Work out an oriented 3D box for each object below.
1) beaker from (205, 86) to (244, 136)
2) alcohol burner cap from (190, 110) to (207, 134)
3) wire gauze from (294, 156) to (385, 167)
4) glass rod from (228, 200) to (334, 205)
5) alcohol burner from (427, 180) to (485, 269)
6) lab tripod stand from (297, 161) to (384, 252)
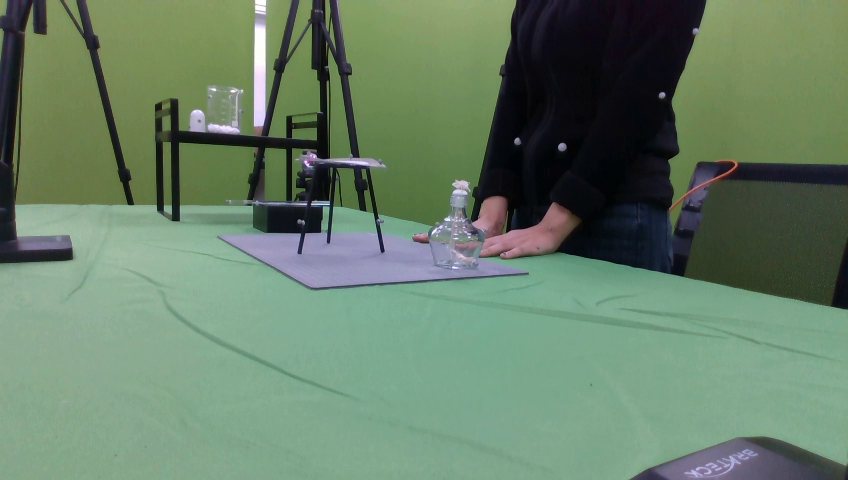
[{"bbox_3d":[-0.430,-0.278,1.310,0.084,0.100,0.074,5,8,13],"label":"beaker"},{"bbox_3d":[-0.464,-0.242,1.241,0.034,0.048,0.034,1,7,0],"label":"alcohol burner cap"},{"bbox_3d":[-0.128,-0.118,0.901,0.125,0.011,0.121,0,8,-14],"label":"wire gauze"},{"bbox_3d":[-0.268,-0.071,1.148,0.201,0.008,0.008,-1,8,-28],"label":"glass rod"},{"bbox_3d":[0.044,-0.021,0.808,0.078,0.119,0.078,4,6,0],"label":"alcohol burner"},{"bbox_3d":[-0.130,-0.051,0.903,0.148,0.131,0.148,3,9,0],"label":"lab tripod stand"}]
